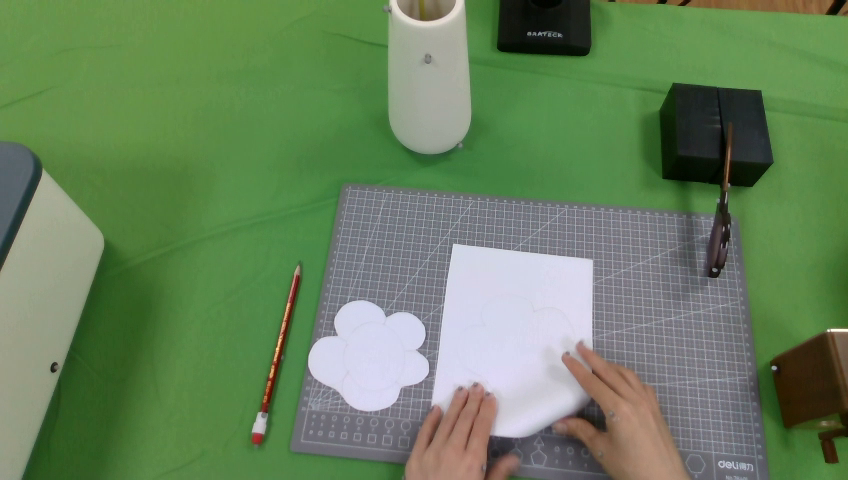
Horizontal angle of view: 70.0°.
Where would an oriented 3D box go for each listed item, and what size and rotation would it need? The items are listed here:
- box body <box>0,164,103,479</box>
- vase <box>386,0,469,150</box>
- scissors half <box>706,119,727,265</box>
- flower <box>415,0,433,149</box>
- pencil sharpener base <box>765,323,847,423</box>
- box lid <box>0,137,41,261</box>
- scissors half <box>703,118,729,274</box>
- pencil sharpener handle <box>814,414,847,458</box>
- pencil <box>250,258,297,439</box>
[{"bbox_3d":[-0.486,0.096,0.544,0.254,0.161,0.361,5,65,3],"label":"box body"},{"bbox_3d":[0.002,-0.185,0.650,0.098,0.201,0.097,-1,64,2],"label":"vase"},{"bbox_3d":[0.311,-0.055,0.633,0.013,0.040,0.174,10,66,15],"label":"scissors half"},{"bbox_3d":[-0.005,-0.233,0.581,0.044,0.365,0.038,-2,47,4],"label":"flower"},{"bbox_3d":[0.372,0.128,0.552,0.061,0.108,0.076,1,65,1],"label":"pencil sharpener base"},{"bbox_3d":[-0.487,0.062,0.476,0.263,0.015,0.368,6,65,3],"label":"box lid"},{"bbox_3d":[0.316,-0.049,0.651,0.012,0.040,0.175,9,83,20],"label":"scissors half"},{"bbox_3d":[0.367,0.168,0.519,0.036,0.068,0.030,7,65,-11],"label":"pencil sharpener handle"},{"bbox_3d":[-0.151,0.105,0.623,0.012,0.012,0.192,6,64,4],"label":"pencil"}]
